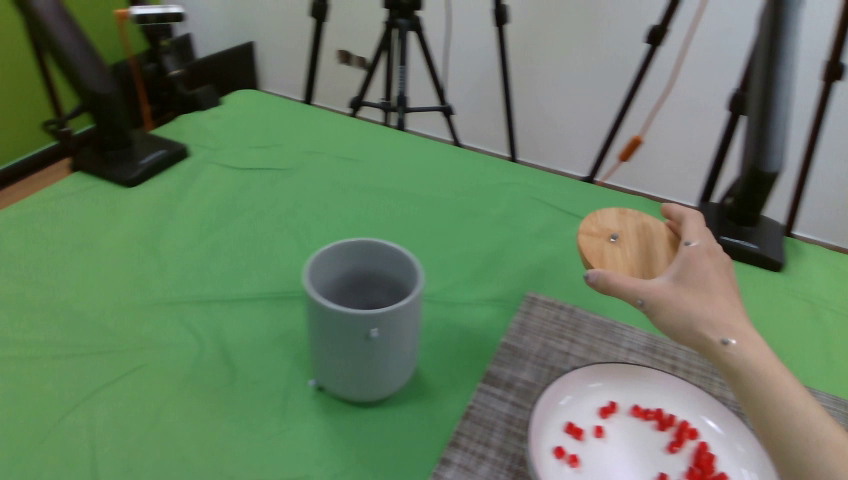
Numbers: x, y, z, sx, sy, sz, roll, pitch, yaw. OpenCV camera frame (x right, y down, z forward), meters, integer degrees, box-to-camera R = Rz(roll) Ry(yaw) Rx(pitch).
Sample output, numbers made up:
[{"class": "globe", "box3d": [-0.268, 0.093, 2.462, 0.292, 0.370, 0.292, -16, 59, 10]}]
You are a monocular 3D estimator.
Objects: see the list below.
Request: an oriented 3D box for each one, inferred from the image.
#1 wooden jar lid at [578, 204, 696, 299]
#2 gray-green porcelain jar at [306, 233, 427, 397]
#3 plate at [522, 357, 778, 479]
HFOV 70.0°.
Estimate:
[{"class": "wooden jar lid", "box3d": [0.189, 0.011, 0.546, 0.108, 0.021, 0.107, 7, 48, -8]}, {"class": "gray-green porcelain jar", "box3d": [-0.055, 0.074, 0.565, 0.106, 0.127, 0.105, 4, 37, -3]}, {"class": "plate", "box3d": [0.184, 0.188, 0.512, 0.208, 0.039, 0.205, 4, 37, -3]}]
